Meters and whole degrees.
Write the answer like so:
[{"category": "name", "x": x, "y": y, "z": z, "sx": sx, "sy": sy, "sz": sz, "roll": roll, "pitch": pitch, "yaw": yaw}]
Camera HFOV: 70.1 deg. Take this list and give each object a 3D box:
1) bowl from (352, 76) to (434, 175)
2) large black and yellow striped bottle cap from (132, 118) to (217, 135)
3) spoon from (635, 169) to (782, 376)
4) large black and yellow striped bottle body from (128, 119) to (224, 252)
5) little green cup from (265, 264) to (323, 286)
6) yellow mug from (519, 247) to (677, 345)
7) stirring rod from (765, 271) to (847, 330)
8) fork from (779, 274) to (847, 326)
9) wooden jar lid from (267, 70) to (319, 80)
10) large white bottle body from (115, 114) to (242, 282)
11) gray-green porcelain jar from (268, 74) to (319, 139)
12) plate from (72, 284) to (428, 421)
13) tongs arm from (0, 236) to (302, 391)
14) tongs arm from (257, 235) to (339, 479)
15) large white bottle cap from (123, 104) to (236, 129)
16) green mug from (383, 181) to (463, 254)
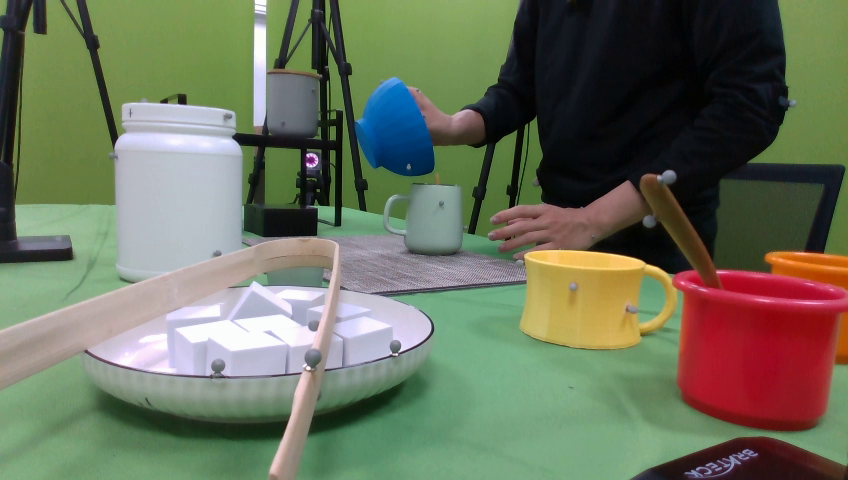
[{"category": "bowl", "x": -0.054, "y": -0.155, "z": 0.889, "sx": 0.077, "sy": 0.151, "sz": 0.151, "roll": -25, "pitch": 14, "yaw": -12}, {"category": "large black and yellow striped bottle cap", "x": -0.359, "y": -0.164, "z": 0.875, "sx": 0.115, "sy": 0.019, "sz": 0.115, "roll": 2, "pitch": 6, "yaw": 0}, {"category": "spoon", "x": 0.161, "y": 0.026, "z": 0.346, "sx": 0.041, "sy": 0.194, "sz": 0.021, "roll": 10, "pitch": 56, "yaw": 53}, {"category": "large black and yellow striped bottle body", "x": -0.361, "y": -0.081, "z": 0.887, "sx": 0.131, "sy": 0.184, "sz": 0.130, "roll": 2, "pitch": 8, "yaw": 0}, {"category": "little green cup", "x": -0.134, "y": 0.034, "z": 0.628, "sx": 0.061, "sy": 0.038, "sz": 0.061, "roll": 3, "pitch": 6, "yaw": 0}, {"category": "yellow mug", "x": 0.148, "y": 0.045, "z": 0.513, "sx": 0.131, "sy": 0.064, "sz": 0.100, "roll": 3, "pitch": 7, "yaw": 0}, {"category": "stirring rod", "x": 0.352, "y": 0.020, "z": 0.481, "sx": 0.176, "sy": 0.006, "sz": 0.014, "roll": -40, "pitch": -8, "yaw": 17}, {"category": "fork", "x": 0.332, "y": 0.019, "z": 0.443, "sx": 0.028, "sy": 0.018, "sz": 0.207, "roll": -3, "pitch": -35, "yaw": -16}, {"category": "wooden jar lid", "x": -0.275, "y": -0.339, "z": 1.271, "sx": 0.108, "sy": 0.020, "sz": 0.108, "roll": 5, "pitch": 6, "yaw": 0}, {"category": "large white bottle body", "x": -0.270, "y": -0.051, "z": 0.673, "sx": 0.131, "sy": 0.184, "sz": 0.130, "roll": 2, "pitch": 8, "yaw": 0}, {"category": "gray-green porcelain jar", "x": -0.277, "y": -0.279, "z": 1.280, "sx": 0.106, "sy": 0.126, "sz": 0.106, "roll": 2, "pitch": 8, "yaw": 0}, {"category": "plate", "x": -0.102, "y": 0.067, "z": 0.381, "sx": 0.208, "sy": 0.039, "sz": 0.207, "roll": 3, "pitch": 7, "yaw": 0}, {"category": "tongs arm", "x": -0.157, "y": 0.037, "z": 0.347, "sx": 0.028, "sy": 0.028, "sz": 0.388, "roll": -2, "pitch": 8, "yaw": 11}, {"category": "tongs arm", "x": -0.074, "y": 0.040, "z": 0.345, "sx": 0.051, "sy": 0.026, "sz": 0.384, "roll": -1, "pitch": 10, "yaw": -3}, {"category": "large white bottle cap", "x": -0.266, "y": -0.134, "z": 0.663, "sx": 0.115, "sy": 0.018, "sz": 0.115, "roll": 3, "pitch": 7, "yaw": 0}, {"category": "green mug", "x": -0.001, "y": -0.035, "z": 0.922, "sx": 0.126, "sy": 0.105, "sz": 0.092, "roll": 0, "pitch": 8, "yaw": -16}]
